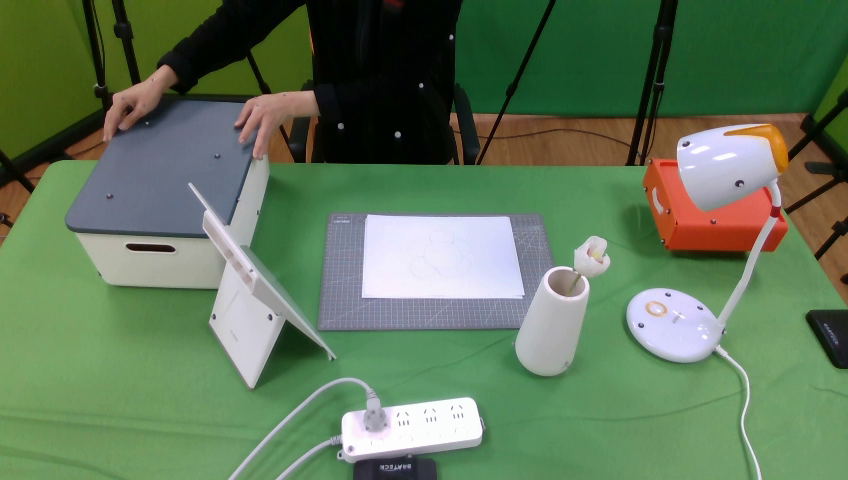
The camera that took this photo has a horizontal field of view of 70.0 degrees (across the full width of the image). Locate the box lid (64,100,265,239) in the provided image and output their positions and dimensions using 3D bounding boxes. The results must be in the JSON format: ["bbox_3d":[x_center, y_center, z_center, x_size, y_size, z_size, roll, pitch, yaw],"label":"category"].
[{"bbox_3d":[-0.447,-0.139,1.088,0.263,0.015,0.369,2,46,-2],"label":"box lid"}]

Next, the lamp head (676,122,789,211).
[{"bbox_3d":[0.423,-0.104,0.819,0.122,0.113,0.112,-13,33,40],"label":"lamp head"}]

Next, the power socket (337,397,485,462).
[{"bbox_3d":[-0.018,0.285,0.915,0.227,0.033,0.071,-5,46,-8],"label":"power socket"}]

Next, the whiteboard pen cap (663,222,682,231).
[{"bbox_3d":[0.487,-0.027,1.188,0.033,0.018,0.018,0,46,-14],"label":"whiteboard pen cap"}]

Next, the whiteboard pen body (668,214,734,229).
[{"bbox_3d":[0.547,-0.035,1.200,0.141,0.017,0.017,-8,48,-9],"label":"whiteboard pen body"}]

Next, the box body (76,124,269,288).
[{"bbox_3d":[-0.450,-0.087,1.148,0.254,0.161,0.361,2,46,-2],"label":"box body"}]

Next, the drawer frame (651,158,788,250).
[{"bbox_3d":[0.571,-0.074,1.213,0.214,0.083,0.200,1,46,0],"label":"drawer frame"}]

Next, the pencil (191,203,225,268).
[{"bbox_3d":[-0.417,-0.014,1.182,0.012,0.012,0.193,5,40,0],"label":"pencil"}]

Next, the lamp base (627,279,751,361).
[{"bbox_3d":[0.459,0.100,1.027,0.178,0.181,0.160,27,51,17],"label":"lamp base"}]

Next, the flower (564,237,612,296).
[{"bbox_3d":[0.206,0.088,0.892,0.038,0.363,0.044,-16,67,-9],"label":"flower"}]

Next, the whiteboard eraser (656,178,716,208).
[{"bbox_3d":[0.538,-0.095,1.251,0.113,0.042,0.055,4,52,-10],"label":"whiteboard eraser"}]

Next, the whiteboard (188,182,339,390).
[{"bbox_3d":[-0.292,0.096,0.929,0.144,0.307,0.216,-38,57,-10],"label":"whiteboard"}]

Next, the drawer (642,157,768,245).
[{"bbox_3d":[0.564,-0.075,1.210,0.212,0.073,0.193,3,45,-1],"label":"drawer"}]

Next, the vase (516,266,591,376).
[{"bbox_3d":[0.208,0.132,0.964,0.098,0.201,0.097,3,46,-3],"label":"vase"}]

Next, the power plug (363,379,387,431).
[{"bbox_3d":[-0.072,0.252,0.910,0.035,0.053,0.072,3,45,-1],"label":"power plug"}]
